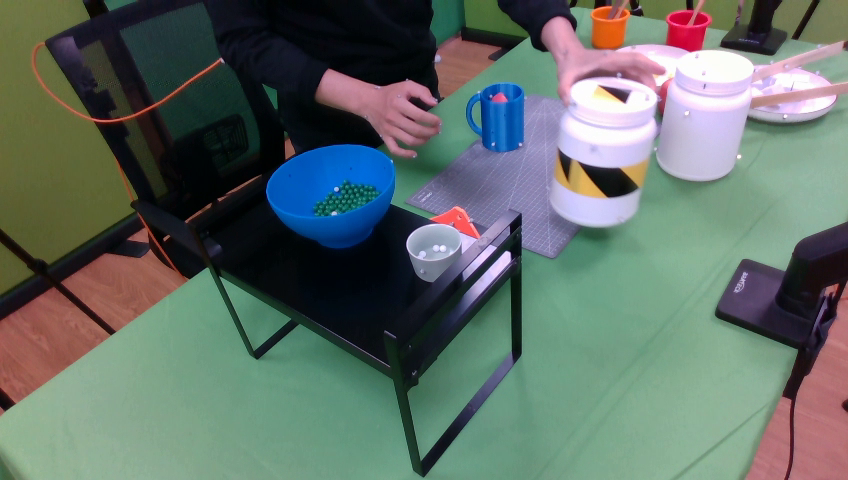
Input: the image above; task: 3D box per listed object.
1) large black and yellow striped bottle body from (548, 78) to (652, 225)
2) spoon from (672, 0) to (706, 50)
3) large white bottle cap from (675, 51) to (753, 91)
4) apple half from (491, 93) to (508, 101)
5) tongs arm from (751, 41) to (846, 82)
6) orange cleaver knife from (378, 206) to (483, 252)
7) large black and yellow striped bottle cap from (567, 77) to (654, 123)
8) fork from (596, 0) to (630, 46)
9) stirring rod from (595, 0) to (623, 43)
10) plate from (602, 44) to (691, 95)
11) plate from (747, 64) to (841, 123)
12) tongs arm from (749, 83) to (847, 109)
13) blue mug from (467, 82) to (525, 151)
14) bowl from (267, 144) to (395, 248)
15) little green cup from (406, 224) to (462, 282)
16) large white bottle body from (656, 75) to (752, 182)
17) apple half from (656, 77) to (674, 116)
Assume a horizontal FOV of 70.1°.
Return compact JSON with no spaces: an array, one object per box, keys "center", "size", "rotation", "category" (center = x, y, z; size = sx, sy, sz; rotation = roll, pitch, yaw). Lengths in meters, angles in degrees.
[{"center":[0.256,-0.129,0.883],"size":[0.131,0.184,0.130],"rotation":[0,37,1],"category":"large black and yellow striped bottle body"},{"center":[0.629,-0.520,1.394],"size":[0.041,0.022,0.193],"rotation":[29,97,35],"category":"spoon"},{"center":[0.463,-0.271,0.967],"size":[0.115,0.018,0.114],"rotation":[-4,40,3],"category":"large white bottle cap"},{"center":[0.141,-0.238,1.158],"size":[0.033,0.081,0.080],"rotation":[-12,40,-17],"category":"apple half"},{"center":[0.708,-0.331,1.194],"size":[0.386,0.026,0.050],"rotation":[-18,45,-16],"category":"tongs arm"},{"center":[0.005,-0.010,0.943],"size":[0.210,0.077,0.012],"rotation":[-5,23,46],"category":"orange cleaver knife"},{"center":[0.255,-0.194,0.831],"size":[0.115,0.019,0.114],"rotation":[-2,36,2],"category":"large black and yellow striped bottle cap"},{"center":[0.481,-0.556,1.452],"size":[0.028,0.019,0.207],"rotation":[40,103,40],"category":"fork"},{"center":[0.460,-0.556,1.459],"size":[0.014,0.006,0.176],"rotation":[30,93,24],"category":"stirring rod"},{"center":[0.495,-0.367,1.317],"size":[0.209,0.038,0.208],"rotation":[-4,40,4],"category":"plate"},{"center":[0.695,-0.283,1.189],"size":[0.207,0.039,0.206],"rotation":[-4,40,4],"category":"plate"},{"center":[0.734,-0.280,1.134],"size":[0.388,0.028,0.028],"rotation":[-9,47,-5],"category":"tongs arm"},{"center":[0.138,-0.240,1.169],"size":[0.116,0.106,0.082],"rotation":[11,44,21],"category":"blue mug"},{"center":[-0.104,-0.043,0.726],"size":[0.151,0.077,0.150],"rotation":[-4,40,4],"category":"bowl"},{"center":[0.012,0.015,0.668],"size":[0.061,0.039,0.061],"rotation":[-4,40,4],"category":"little green cup"},{"center":[0.472,-0.207,1.022],"size":[0.130,0.185,0.130],"rotation":[-4,41,4],"category":"large white bottle body"},{"center":[0.488,-0.281,1.192],"size":[0.053,0.075,0.081],"rotation":[24,54,37],"category":"apple half"}]
